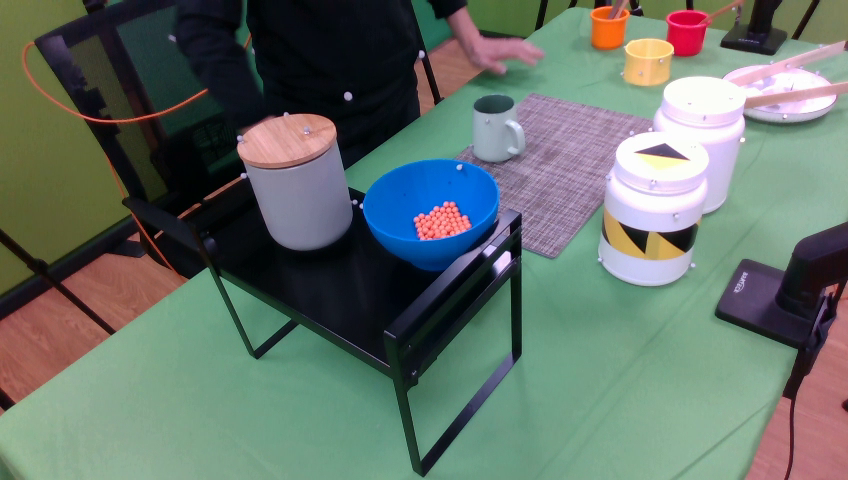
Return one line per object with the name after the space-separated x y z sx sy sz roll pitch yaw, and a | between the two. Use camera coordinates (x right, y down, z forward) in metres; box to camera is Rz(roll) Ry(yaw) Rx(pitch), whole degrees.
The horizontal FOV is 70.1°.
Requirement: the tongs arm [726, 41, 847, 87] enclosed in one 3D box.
0.712 -0.332 1.194 0.386 0.026 0.050 -18 44 -16 | tongs arm

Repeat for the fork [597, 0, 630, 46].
0.481 -0.556 1.452 0.028 0.019 0.207 38 102 37 | fork

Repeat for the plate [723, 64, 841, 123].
0.695 -0.282 1.189 0.207 0.039 0.206 -4 40 4 | plate

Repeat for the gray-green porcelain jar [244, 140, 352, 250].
-0.144 -0.060 0.714 0.106 0.127 0.105 -4 41 4 | gray-green porcelain jar

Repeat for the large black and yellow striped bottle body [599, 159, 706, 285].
0.320 -0.042 0.854 0.131 0.185 0.130 -4 41 4 | large black and yellow striped bottle body

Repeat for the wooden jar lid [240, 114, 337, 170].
-0.149 -0.106 0.673 0.108 0.021 0.108 -6 38 5 | wooden jar lid

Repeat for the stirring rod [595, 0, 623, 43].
0.461 -0.555 1.459 0.014 0.006 0.176 30 93 26 | stirring rod

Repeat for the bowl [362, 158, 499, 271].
0.011 -0.019 0.679 0.151 0.077 0.150 -5 41 4 | bowl

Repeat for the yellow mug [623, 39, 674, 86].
0.485 -0.398 1.334 0.100 0.064 0.130 -18 40 -10 | yellow mug

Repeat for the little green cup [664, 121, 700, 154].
0.473 -0.188 1.113 0.061 0.039 0.061 -5 40 5 | little green cup

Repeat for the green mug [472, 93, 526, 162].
0.144 -0.202 1.122 0.093 0.105 0.124 -29 45 -23 | green mug

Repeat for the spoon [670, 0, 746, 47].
0.629 -0.485 1.350 0.022 0.193 0.042 48 54 -7 | spoon

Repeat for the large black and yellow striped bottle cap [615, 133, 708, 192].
0.313 -0.105 0.799 0.115 0.019 0.114 -5 41 5 | large black and yellow striped bottle cap

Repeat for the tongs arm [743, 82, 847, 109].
0.738 -0.282 1.134 0.388 0.028 0.028 -9 46 -5 | tongs arm

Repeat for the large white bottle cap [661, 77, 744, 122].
0.415 -0.210 0.904 0.115 0.018 0.114 -4 40 4 | large white bottle cap

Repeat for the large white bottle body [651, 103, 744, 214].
0.426 -0.146 0.958 0.130 0.185 0.130 -4 40 4 | large white bottle body
